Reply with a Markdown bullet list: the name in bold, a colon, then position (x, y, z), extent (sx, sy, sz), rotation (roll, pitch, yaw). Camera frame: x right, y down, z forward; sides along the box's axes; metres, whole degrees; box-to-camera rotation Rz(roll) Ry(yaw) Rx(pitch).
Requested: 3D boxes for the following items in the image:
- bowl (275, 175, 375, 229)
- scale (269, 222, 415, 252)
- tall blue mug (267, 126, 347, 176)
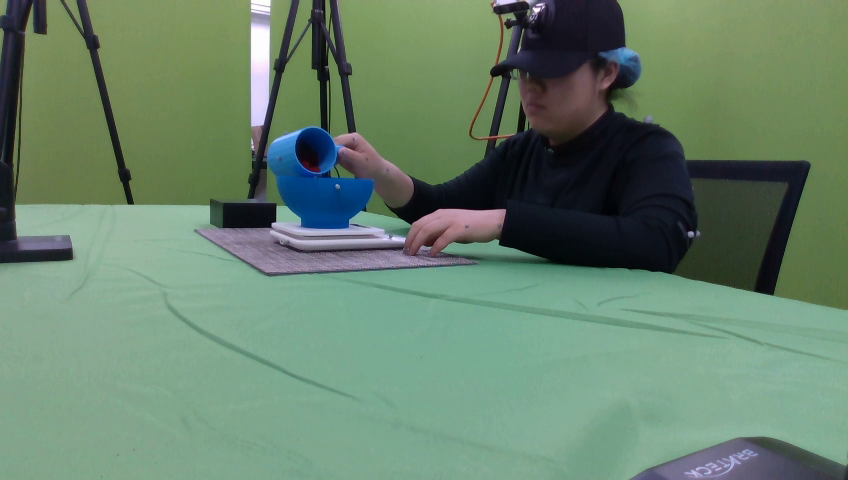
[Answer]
- **bowl**: position (-0.152, -0.059, 0.932), extent (0.151, 0.077, 0.151), rotation (2, 6, 0)
- **scale**: position (-0.130, -0.007, 0.958), extent (0.202, 0.031, 0.148), rotation (-1, 9, -32)
- **tall blue mug**: position (-0.193, -0.151, 1.008), extent (0.107, 0.078, 0.107), rotation (-43, 23, -29)
